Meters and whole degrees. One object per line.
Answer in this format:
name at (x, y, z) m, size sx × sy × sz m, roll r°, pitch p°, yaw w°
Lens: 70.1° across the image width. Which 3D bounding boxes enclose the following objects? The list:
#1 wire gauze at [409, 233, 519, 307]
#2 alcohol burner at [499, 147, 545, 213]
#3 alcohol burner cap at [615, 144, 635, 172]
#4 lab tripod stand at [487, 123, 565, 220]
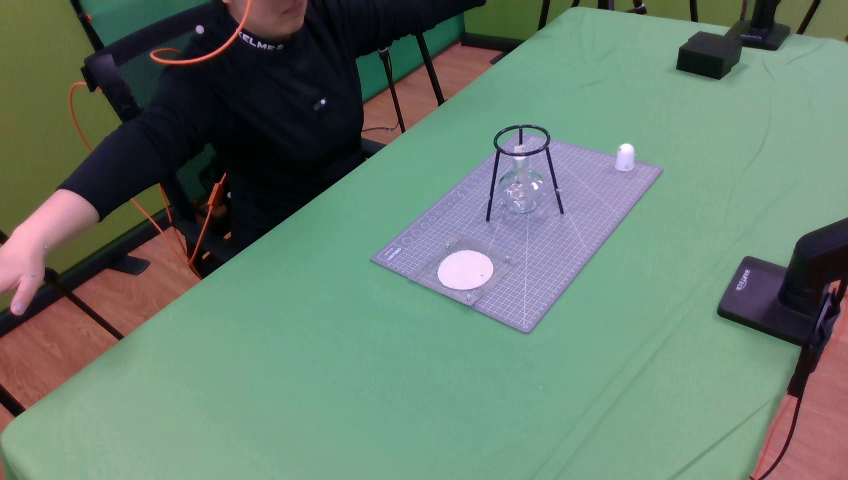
wire gauze at (0.061, 0.045, 0.925) m, size 0.120 × 0.011 × 0.125 m, roll 25°, pitch 52°, yaw 35°
alcohol burner at (0.161, -0.104, 1.001) m, size 0.078 × 0.120 × 0.077 m, roll -6°, pitch 42°, yaw 6°
alcohol burner cap at (0.357, -0.147, 1.069) m, size 0.034 × 0.048 × 0.033 m, roll -7°, pitch 41°, yaw 6°
lab tripod stand at (0.162, -0.110, 0.992) m, size 0.148 × 0.132 × 0.147 m, roll -5°, pitch 42°, yaw 5°
